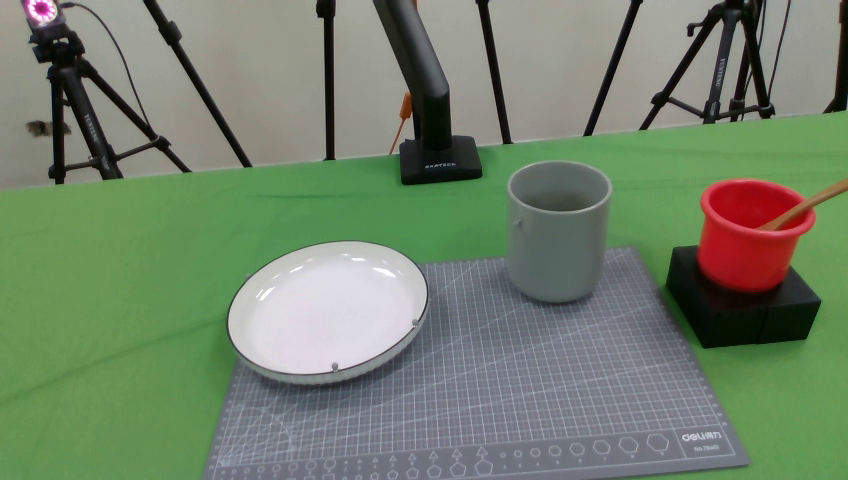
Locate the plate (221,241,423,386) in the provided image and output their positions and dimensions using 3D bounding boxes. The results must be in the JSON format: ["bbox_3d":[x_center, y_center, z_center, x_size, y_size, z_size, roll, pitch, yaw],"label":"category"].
[{"bbox_3d":[-0.103,0.077,0.637,0.207,0.039,0.205,-3,36,2],"label":"plate"}]

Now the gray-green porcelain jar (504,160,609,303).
[{"bbox_3d":[0.137,-0.005,0.645,0.106,0.127,0.105,-3,37,3],"label":"gray-green porcelain jar"}]

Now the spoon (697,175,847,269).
[{"bbox_3d":[0.343,-0.026,0.554,0.194,0.022,0.041,-39,25,32],"label":"spoon"}]
